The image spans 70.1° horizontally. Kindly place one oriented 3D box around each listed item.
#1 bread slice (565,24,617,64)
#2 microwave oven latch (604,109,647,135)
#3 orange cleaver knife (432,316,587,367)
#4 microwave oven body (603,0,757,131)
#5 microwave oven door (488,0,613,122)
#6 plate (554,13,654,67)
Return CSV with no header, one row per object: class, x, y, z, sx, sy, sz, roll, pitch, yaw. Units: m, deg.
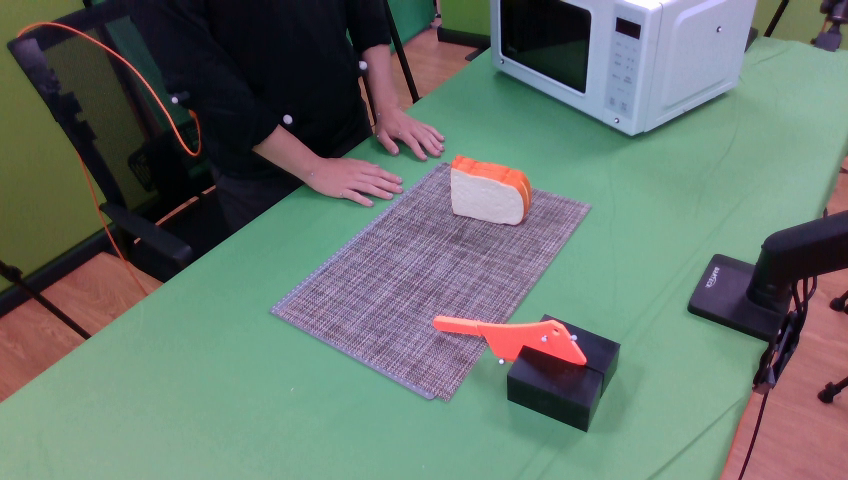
bread slice,0.362,-0.428,1.323,0.107,0.018,0.134,1,52,9
microwave oven latch,0.378,-0.225,1.139,0.030,0.029,0.078,-26,43,-20
orange cleaver knife,0.101,0.127,0.761,0.210,0.077,0.012,-1,34,40
microwave oven body,0.396,-0.448,1.248,0.327,0.261,0.437,-27,44,-21
microwave oven door,0.250,-0.412,1.219,0.039,0.245,0.352,-27,44,-21
plate,0.386,-0.428,1.308,0.207,0.039,0.206,-4,44,4
